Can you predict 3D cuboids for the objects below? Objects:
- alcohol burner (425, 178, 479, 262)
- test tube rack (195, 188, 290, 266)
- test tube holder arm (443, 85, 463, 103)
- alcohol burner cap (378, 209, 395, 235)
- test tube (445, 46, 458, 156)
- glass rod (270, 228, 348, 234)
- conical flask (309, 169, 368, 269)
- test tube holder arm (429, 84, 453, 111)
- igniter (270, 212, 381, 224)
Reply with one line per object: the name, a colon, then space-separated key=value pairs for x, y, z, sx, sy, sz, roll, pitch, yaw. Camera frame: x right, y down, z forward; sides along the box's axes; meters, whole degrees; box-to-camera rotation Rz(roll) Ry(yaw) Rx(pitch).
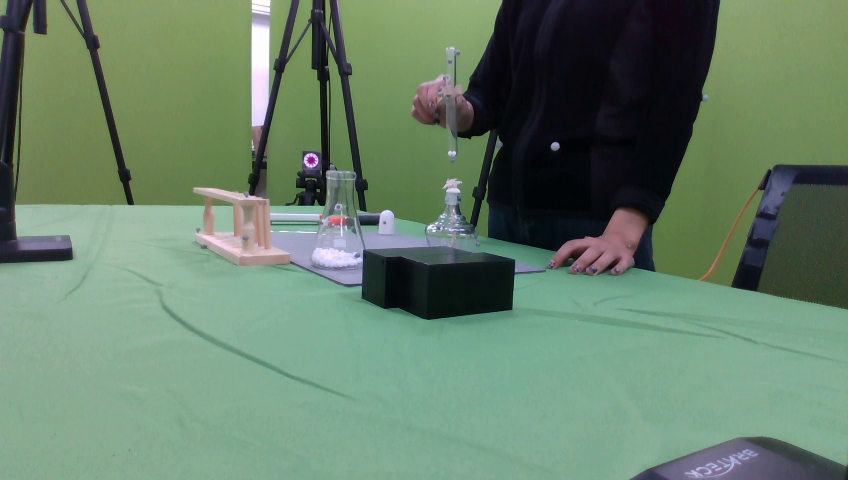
alcohol burner: x=0.040 y=-0.028 z=0.853 sx=0.078 sy=0.119 sz=0.078 roll=2 pitch=9 yaw=0
test tube rack: x=-0.266 y=-0.025 z=0.864 sx=0.067 sy=0.085 sz=0.241 roll=-2 pitch=9 yaw=-33
test tube holder arm: x=0.037 y=-0.207 z=0.861 sx=0.010 sy=0.015 sz=0.087 roll=3 pitch=4 yaw=-16
alcohol burner cap: x=-0.070 y=-0.034 z=1.144 sx=0.034 sy=0.048 sz=0.034 roll=2 pitch=8 yaw=0
test tube: x=0.038 y=-0.192 z=0.838 sx=0.017 sy=0.150 sz=0.017 roll=-1 pitch=3 yaw=0
glass rod: x=-0.234 y=-0.017 z=1.105 sx=0.201 sy=0.008 sz=0.008 roll=1 pitch=6 yaw=-26
conical flask: x=-0.107 y=-0.027 z=0.762 sx=0.075 sy=0.122 sz=0.075 roll=2 pitch=7 yaw=0
test tube holder arm: x=0.023 y=-0.211 z=0.904 sx=0.013 sy=0.015 sz=0.178 roll=4 pitch=4 yaw=-9
igniter: x=-0.213 y=-0.047 z=1.278 sx=0.278 sy=0.025 sz=0.057 roll=-1 pitch=-2 yaw=-25
